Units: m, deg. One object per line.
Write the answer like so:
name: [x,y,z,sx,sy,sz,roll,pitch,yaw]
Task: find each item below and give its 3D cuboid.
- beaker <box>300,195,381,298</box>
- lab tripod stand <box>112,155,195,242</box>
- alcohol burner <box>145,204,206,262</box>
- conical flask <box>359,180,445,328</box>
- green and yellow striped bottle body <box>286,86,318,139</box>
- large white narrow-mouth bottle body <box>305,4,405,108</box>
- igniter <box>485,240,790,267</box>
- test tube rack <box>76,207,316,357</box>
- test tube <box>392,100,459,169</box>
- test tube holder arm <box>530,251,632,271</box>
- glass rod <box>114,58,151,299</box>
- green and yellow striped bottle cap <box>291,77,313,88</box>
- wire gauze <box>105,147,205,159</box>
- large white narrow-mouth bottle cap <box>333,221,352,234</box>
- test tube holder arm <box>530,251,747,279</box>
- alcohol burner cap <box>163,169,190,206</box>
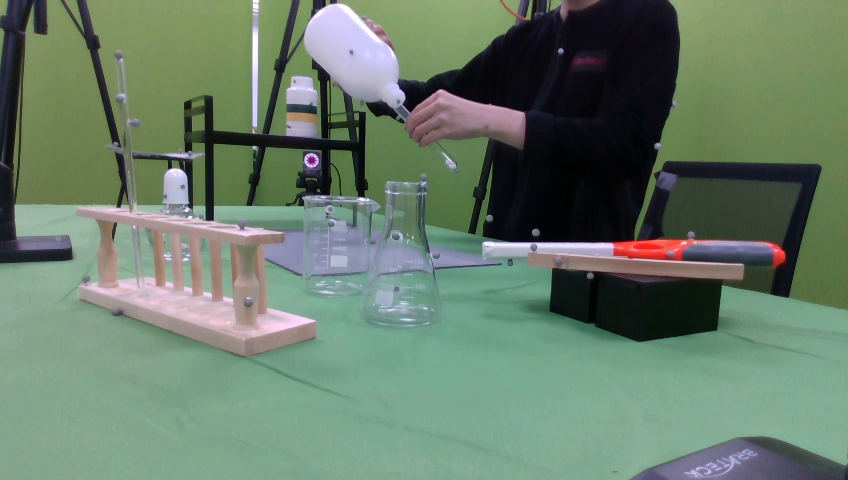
beaker: [-0.087,0.006,0.626,0.084,0.100,0.074,1,8,-17]
lab tripod stand: [-0.405,-0.064,0.931,0.148,0.131,0.148,1,6,0]
alcohol burner: [-0.321,-0.032,0.788,0.078,0.119,0.078,0,7,0]
conical flask: [-0.017,0.010,0.522,0.075,0.122,0.075,2,7,0]
green and yellow striped bottle body: [-0.251,-0.270,1.245,0.063,0.119,0.063,2,7,0]
large white narrow-mouth bottle body: [-0.101,-0.287,0.984,0.194,0.101,0.102,48,26,17]
igniter: [0.197,0.012,0.585,0.276,0.025,0.057,1,5,12]
test tube rack: [-0.196,0.023,0.500,0.241,0.085,0.067,8,9,36]
test tube: [0.002,-0.163,0.935,0.150,0.017,0.017,48,26,17]
test tube holder arm: [0.139,0.019,0.538,0.087,0.015,0.010,3,7,13]
glass rod: [-0.236,-0.044,0.492,0.008,0.199,0.008,0,15,0]
green and yellow striped bottle cap: [-0.250,-0.321,1.238,0.045,0.020,0.045,3,6,0]
wire gauze: [-0.407,-0.131,0.928,0.125,0.011,0.121,2,6,-11]
large white narrow-mouth bottle cap: [-0.152,-0.024,1.134,0.038,0.024,0.037,4,7,0]
test tube holder arm: [0.182,0.022,0.523,0.178,0.015,0.013,3,7,12]
alcohol burner cap: [-0.321,-0.068,0.782,0.034,0.048,0.034,1,7,0]
